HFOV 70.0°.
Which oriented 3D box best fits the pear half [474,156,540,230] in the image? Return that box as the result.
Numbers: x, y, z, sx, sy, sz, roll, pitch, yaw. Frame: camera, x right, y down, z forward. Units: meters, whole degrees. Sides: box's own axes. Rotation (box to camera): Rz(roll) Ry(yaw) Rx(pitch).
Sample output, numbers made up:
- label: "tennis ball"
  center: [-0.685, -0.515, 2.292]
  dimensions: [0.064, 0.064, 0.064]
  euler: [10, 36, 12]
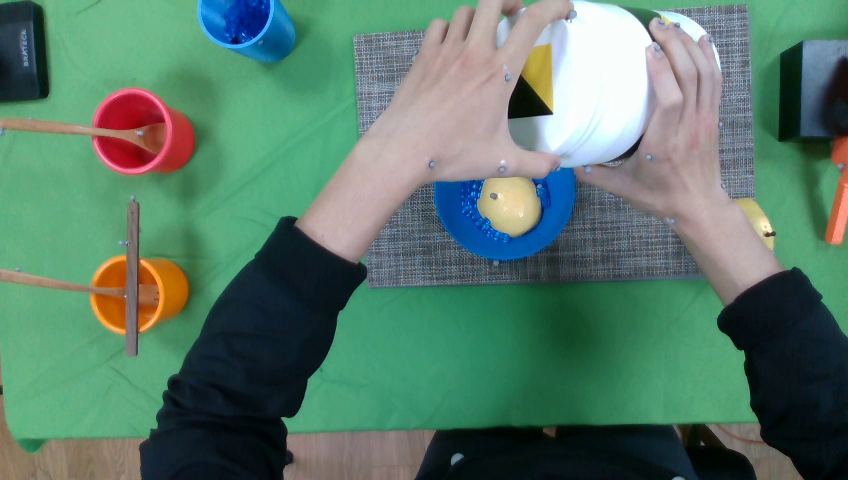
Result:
- label: "pear half"
  center: [0.089, -0.055, 0.668]
  dimensions: [0.070, 0.031, 0.088]
  euler: [-29, 86, 3]

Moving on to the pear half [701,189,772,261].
- label: "pear half"
  center: [0.329, -0.013, 0.637]
  dimensions: [0.056, 0.110, 0.076]
  euler: [-22, 86, 7]

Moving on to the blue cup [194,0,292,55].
- label: "blue cup"
  center: [-0.194, -0.251, 0.682]
  dimensions: [0.092, 0.100, 0.092]
  euler: [0, 93, 8]

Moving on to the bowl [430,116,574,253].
- label: "bowl"
  center: [0.085, -0.062, 0.673]
  dimensions: [0.151, 0.077, 0.151]
  euler: [0, 93, 6]

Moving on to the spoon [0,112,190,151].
- label: "spoon"
  center: [-0.368, -0.129, 0.684]
  dimensions: [0.195, 0.021, 0.041]
  euler: [1, 96, -38]

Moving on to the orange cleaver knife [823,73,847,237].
- label: "orange cleaver knife"
  center: [0.446, -0.105, 0.639]
  dimensions: [0.012, 0.076, 0.213]
  euler: [0, 121, 11]

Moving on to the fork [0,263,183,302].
- label: "fork"
  center: [-0.382, 0.047, 0.690]
  dimensions: [0.209, 0.018, 0.028]
  euler: [14, 105, -39]

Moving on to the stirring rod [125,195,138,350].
- label: "stirring rod"
  center: [-0.330, 0.037, 0.683]
  dimensions: [0.014, 0.006, 0.176]
  euler: [2, 94, 3]

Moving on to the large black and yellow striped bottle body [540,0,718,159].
- label: "large black and yellow striped bottle body"
  center: [0.149, -0.138, 0.520]
  dimensions: [0.185, 0.130, 0.130]
  euler: [-12, 91, -37]

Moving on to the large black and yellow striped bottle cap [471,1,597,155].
- label: "large black and yellow striped bottle cap"
  center: [0.081, -0.124, 0.469]
  dimensions: [0.114, 0.019, 0.115]
  euler: [15, 110, 49]
